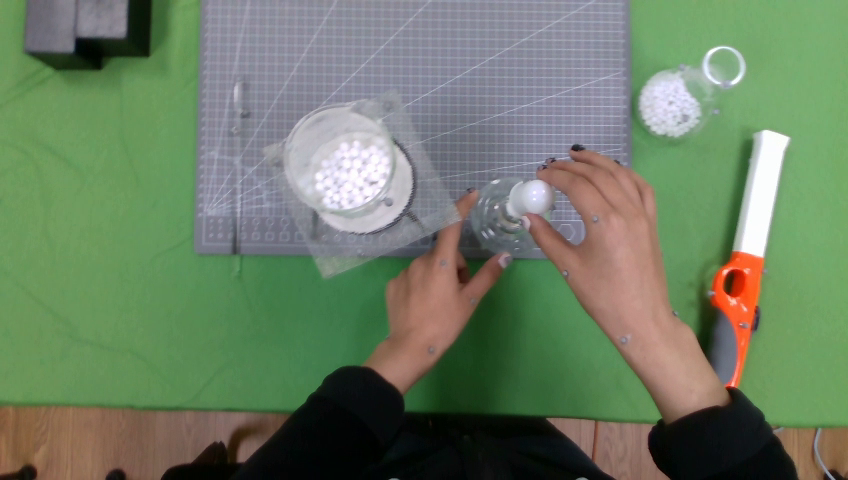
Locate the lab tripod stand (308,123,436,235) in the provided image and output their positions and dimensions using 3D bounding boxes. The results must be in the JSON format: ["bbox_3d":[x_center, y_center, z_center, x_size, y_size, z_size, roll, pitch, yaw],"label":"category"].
[{"bbox_3d":[-0.053,-0.045,0.561,0.148,0.131,0.148,0,89,0],"label":"lab tripod stand"}]

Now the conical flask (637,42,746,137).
[{"bbox_3d":[0.257,-0.148,0.576,0.075,0.122,0.075,0,86,1],"label":"conical flask"}]

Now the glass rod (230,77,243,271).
[{"bbox_3d":[-0.192,-0.068,0.623,0.008,0.008,0.199,2,90,0],"label":"glass rod"}]

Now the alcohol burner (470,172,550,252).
[{"bbox_3d":[0.083,-0.028,0.571,0.078,0.119,0.077,0,85,2],"label":"alcohol burner"}]

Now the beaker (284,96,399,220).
[{"bbox_3d":[-0.054,-0.055,0.448,0.074,0.100,0.084,23,87,1],"label":"beaker"}]

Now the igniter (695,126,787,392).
[{"bbox_3d":[0.323,0.021,0.615,0.057,0.025,0.276,14,87,-9],"label":"igniter"}]

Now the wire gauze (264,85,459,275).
[{"bbox_3d":[-0.051,-0.049,0.495,0.125,0.011,0.121,-24,90,-3],"label":"wire gauze"}]

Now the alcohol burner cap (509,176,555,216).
[{"bbox_3d":[0.089,-0.038,0.489,0.034,0.048,0.034,0,90,-6],"label":"alcohol burner cap"}]
